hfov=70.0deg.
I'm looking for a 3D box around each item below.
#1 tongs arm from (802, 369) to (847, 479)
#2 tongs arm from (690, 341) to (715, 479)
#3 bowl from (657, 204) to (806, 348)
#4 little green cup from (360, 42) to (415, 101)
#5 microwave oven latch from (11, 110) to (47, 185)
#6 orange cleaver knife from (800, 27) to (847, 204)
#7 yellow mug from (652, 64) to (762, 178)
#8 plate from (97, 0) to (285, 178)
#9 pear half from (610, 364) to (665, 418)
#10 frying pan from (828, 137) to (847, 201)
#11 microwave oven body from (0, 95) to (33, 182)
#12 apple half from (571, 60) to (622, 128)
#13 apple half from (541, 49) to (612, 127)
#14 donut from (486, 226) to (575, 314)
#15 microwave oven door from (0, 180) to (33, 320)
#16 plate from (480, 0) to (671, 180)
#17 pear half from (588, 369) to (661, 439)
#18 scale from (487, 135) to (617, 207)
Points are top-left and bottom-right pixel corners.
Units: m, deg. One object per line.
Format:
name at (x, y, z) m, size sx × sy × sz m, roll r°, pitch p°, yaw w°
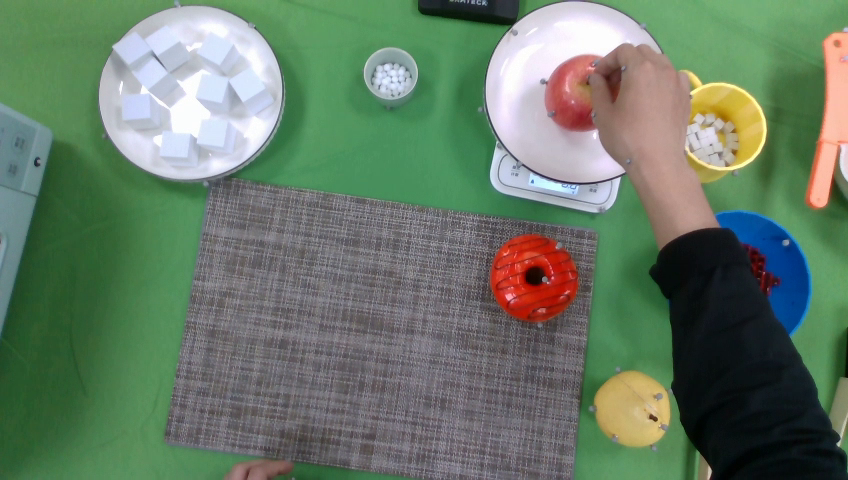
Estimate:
tongs arm at (0.395, 0.322, 0.662) m, size 0.028 × 0.028 × 0.387 m, roll 24°, pitch 84°, yaw -6°
tongs arm at (0.312, 0.301, 0.659) m, size 0.051 × 0.026 × 0.384 m, roll 9°, pitch 85°, yaw -4°
bowl at (0.321, 0.040, 0.665) m, size 0.151 × 0.077 × 0.151 m, roll 0°, pitch 85°, yaw -1°
little green cup at (-0.041, -0.192, 0.701) m, size 0.061 × 0.039 × 0.061 m, roll 0°, pitch 83°, yaw -1°
microwave oven latch at (-0.440, -0.102, 0.665) m, size 0.030 × 0.029 × 0.079 m, roll 13°, pitch 84°, yaw 0°
orange cleaver knife at (0.454, -0.137, 0.655) m, size 0.077 × 0.012 × 0.211 m, roll 13°, pitch 84°, yaw 3°
yellow mug at (0.311, -0.140, 0.689) m, size 0.100 × 0.064 × 0.130 m, roll -24°, pitch 84°, yaw -3°
plate at (-0.261, -0.170, 0.695) m, size 0.208 × 0.039 × 0.207 m, roll 0°, pitch 84°, yaw -1°
pear half at (0.233, 0.155, 0.645) m, size 0.070 × 0.088 × 0.031 m, roll 39°, pitch 85°, yaw 7°
frying pan at (0.623, -0.030, 0.665) m, size 0.307 × 0.103 × 0.485 m, roll -19°, pitch 77°, yaw -2°
microwave oven body at (-0.618, 0.032, 0.550) m, size 0.326 × 0.260 × 0.440 m, roll 11°, pitch 84°, yaw 0°
apple half at (0.188, -0.149, 0.646) m, size 0.033 × 0.081 × 0.081 m, roll 28°, pitch 84°, yaw -3°
apple half at (0.153, -0.166, 0.643) m, size 0.053 × 0.074 × 0.081 m, roll 29°, pitch 91°, yaw -2°
donut at (0.117, 0.034, 0.674) m, size 0.099 × 0.048 × 0.099 m, roll 0°, pitch 84°, yaw 2°
microwave oven door at (-0.482, 0.100, 0.540) m, size 0.039 × 0.244 × 0.355 m, roll 10°, pitch 83°, yaw 1°
plate at (0.165, -0.166, 0.673) m, size 0.209 × 0.038 × 0.208 m, roll 0°, pitch 84°, yaw -2°
pear half at (0.208, 0.179, 0.632) m, size 0.076 × 0.110 × 0.056 m, roll 40°, pitch 84°, yaw 8°
scale at (0.162, -0.147, 0.704) m, size 0.149 × 0.031 × 0.200 m, roll 12°, pitch 84°, yaw 0°
